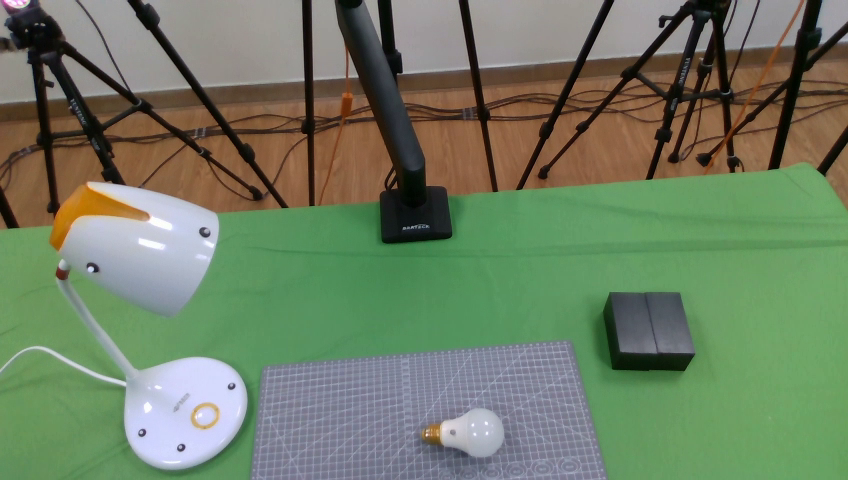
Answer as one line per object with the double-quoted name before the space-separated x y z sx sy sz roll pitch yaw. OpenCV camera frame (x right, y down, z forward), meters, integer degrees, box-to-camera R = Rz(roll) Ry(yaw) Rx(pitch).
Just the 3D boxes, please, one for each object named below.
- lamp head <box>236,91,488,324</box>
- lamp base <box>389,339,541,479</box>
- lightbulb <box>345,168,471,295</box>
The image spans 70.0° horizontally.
"lamp head" -0.040 -0.002 0.326 0.113 0.122 0.111 21 58 -36
"lamp base" 0.038 0.153 0.614 0.179 0.181 0.159 14 66 10
"lightbulb" -0.019 0.009 0.307 0.060 0.108 0.059 19 48 -22
